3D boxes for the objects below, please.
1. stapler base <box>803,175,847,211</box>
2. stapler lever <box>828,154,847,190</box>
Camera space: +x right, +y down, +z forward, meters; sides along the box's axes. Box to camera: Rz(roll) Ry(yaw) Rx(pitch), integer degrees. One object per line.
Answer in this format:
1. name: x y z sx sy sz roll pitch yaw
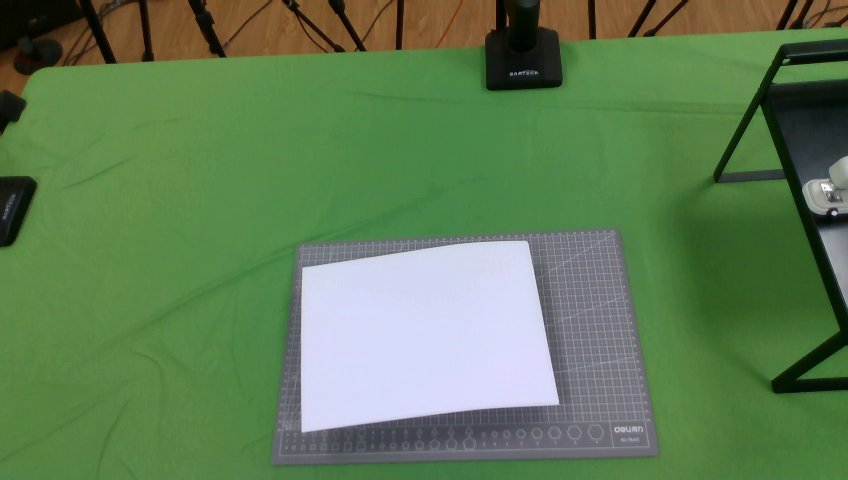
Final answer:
1. stapler base: 0.457 -0.055 0.611 0.130 0.024 0.041 -3 64 2
2. stapler lever: 0.456 -0.067 0.589 0.118 0.040 0.026 -3 64 2
